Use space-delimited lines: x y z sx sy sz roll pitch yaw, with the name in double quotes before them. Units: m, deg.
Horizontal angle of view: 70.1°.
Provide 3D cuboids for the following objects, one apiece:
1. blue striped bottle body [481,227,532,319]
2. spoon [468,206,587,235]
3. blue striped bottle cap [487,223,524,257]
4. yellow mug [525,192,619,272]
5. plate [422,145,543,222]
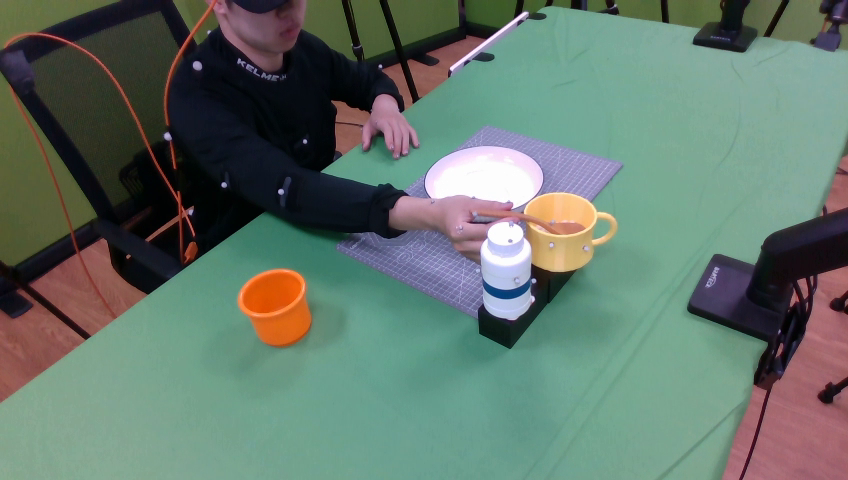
"blue striped bottle body" 0.104 0.037 0.756 0.063 0.121 0.063 -4 40 4
"spoon" 0.143 -0.027 0.817 0.195 0.021 0.041 13 32 -29
"blue striped bottle cap" 0.097 -0.001 0.722 0.044 0.021 0.044 -2 39 2
"yellow mug" 0.206 -0.013 0.844 0.131 0.064 0.099 -4 41 1
"plate" 0.101 -0.094 1.048 0.207 0.039 0.206 -4 41 4
